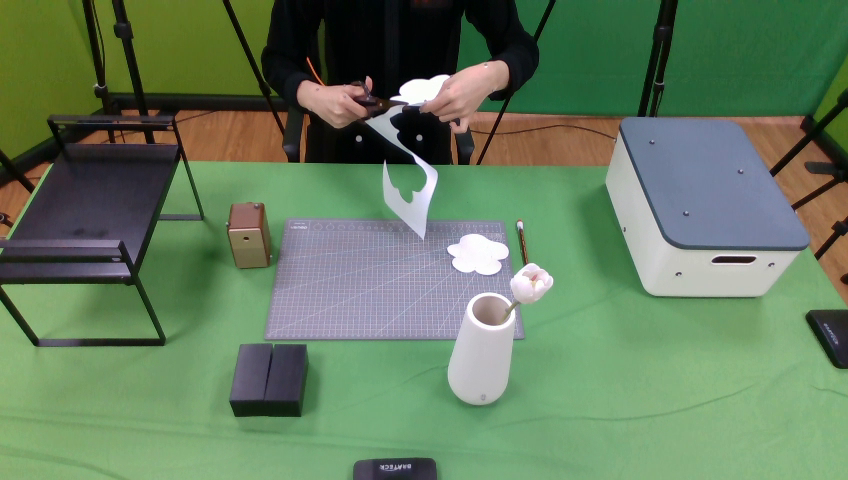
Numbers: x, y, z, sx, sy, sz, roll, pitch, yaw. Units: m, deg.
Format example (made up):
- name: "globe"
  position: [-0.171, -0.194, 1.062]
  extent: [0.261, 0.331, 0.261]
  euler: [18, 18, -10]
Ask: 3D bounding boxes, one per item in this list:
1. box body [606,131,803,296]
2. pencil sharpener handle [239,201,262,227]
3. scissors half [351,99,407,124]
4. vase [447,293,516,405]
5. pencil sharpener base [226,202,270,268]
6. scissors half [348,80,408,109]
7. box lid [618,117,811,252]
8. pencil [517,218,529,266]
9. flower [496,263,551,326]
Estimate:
- name: "box body"
  position: [0.530, -0.067, 1.204]
  extent: [0.254, 0.161, 0.361]
  euler: [0, 46, -4]
- name: "pencil sharpener handle"
  position: [-0.325, -0.055, 1.150]
  extent: [0.036, 0.068, 0.030]
  euler: [-13, 46, 4]
- name: "scissors half"
  position: [-0.081, -0.235, 1.087]
  extent: [0.013, 0.040, 0.174]
  euler: [-22, 14, -34]
- name: "vase"
  position: [0.091, 0.169, 0.921]
  extent: [0.098, 0.201, 0.097]
  euler: [3, 47, -3]
- name: "pencil sharpener base"
  position: [-0.323, -0.010, 1.123]
  extent: [0.061, 0.107, 0.076]
  euler: [-3, 46, -7]
- name: "scissors half"
  position: [-0.084, -0.254, 1.079]
  extent: [0.013, 0.040, 0.174]
  euler: [-28, 39, -32]
- name: "box lid"
  position: [0.534, -0.117, 1.149]
  extent: [0.263, 0.015, 0.369]
  euler: [0, 47, -3]
- name: "pencil"
  position: [0.200, 0.027, 1.196]
  extent: [0.012, 0.012, 0.193]
  euler: [1, 48, -3]
- name: "flower"
  position: [0.102, 0.120, 0.853]
  extent: [0.044, 0.363, 0.038]
  euler: [-2, 64, -10]
